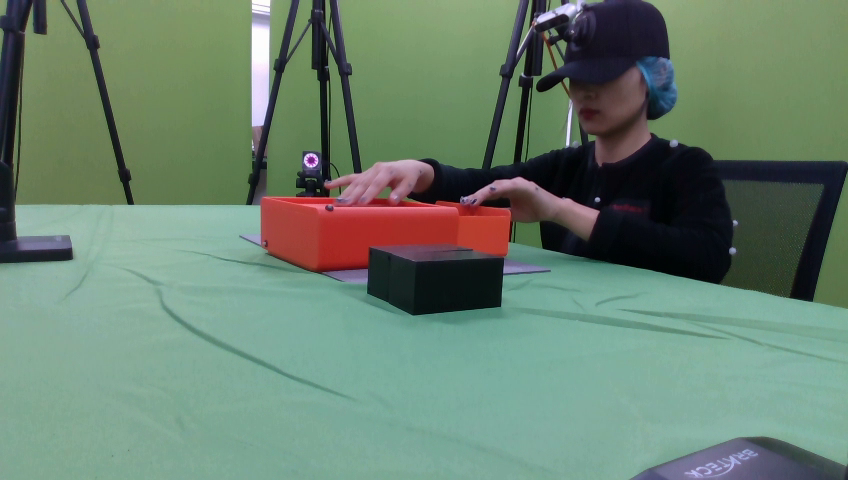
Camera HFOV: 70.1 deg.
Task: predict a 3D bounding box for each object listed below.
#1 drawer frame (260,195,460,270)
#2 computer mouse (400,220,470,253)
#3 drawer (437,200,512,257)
[{"bbox_3d":[-0.092,-0.018,0.846,0.215,0.082,0.200,-4,10,-35],"label":"drawer frame"},{"bbox_3d":[0.016,-0.006,0.909,0.063,0.041,0.116,2,11,-32],"label":"computer mouse"},{"bbox_3d":[-0.011,-0.020,0.900,0.213,0.073,0.193,-2,9,-34],"label":"drawer"}]
